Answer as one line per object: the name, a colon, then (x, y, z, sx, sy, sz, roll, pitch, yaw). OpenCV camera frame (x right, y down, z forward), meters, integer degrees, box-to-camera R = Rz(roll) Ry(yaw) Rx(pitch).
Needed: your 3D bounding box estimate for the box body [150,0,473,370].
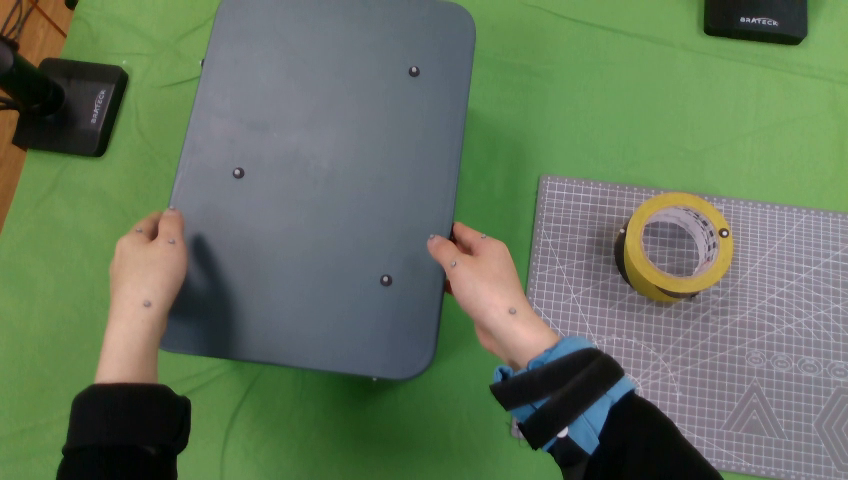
box body: (-0.093, -0.054, 0.637, 0.254, 0.161, 0.362, 6, 76, 4)

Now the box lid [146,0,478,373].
box lid: (-0.096, -0.076, 0.565, 0.263, 0.015, 0.369, 7, 77, 4)

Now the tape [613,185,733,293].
tape: (0.271, 0.001, 0.661, 0.117, 0.053, 0.116, -1, 76, 3)
